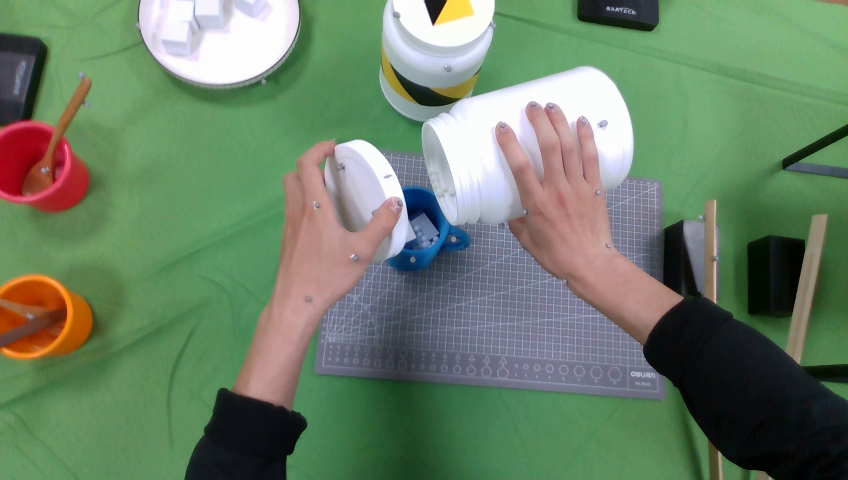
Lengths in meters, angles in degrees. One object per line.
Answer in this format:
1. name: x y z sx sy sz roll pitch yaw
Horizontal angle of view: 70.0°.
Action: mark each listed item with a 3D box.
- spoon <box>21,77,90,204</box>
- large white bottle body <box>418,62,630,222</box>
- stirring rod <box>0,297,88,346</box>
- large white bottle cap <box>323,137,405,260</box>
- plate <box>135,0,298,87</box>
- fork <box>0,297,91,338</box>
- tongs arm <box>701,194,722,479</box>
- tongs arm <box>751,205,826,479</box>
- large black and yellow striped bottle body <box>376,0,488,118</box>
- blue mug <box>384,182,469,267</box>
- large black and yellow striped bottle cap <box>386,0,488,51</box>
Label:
1. spoon: -0.426 -0.112 0.700 0.041 0.021 0.194 50 121 9
2. large white bottle body: 0.097 -0.096 0.618 0.185 0.131 0.130 -18 80 -10
3. stirring rod: -0.447 0.102 0.655 0.014 0.006 0.176 51 35 3
4. large white bottle cap: -0.058 -0.037 0.562 0.018 0.115 0.114 -22 80 -34
5. plate: -0.272 -0.298 0.811 0.208 0.039 0.206 1 78 -6
6. fork: -0.467 0.063 0.655 0.209 0.018 0.028 36 69 -42
7. tongs arm: 0.372 0.135 0.754 0.051 0.026 0.384 1 90 -9
8. tongs arm: 0.453 0.143 0.765 0.028 0.027 0.387 14 88 -12
9. large black and yellow striped bottle body: 0.007 -0.246 0.756 0.131 0.184 0.130 1 77 -6
10. blue mug: -0.002 -0.013 0.742 0.117 0.106 0.082 12 77 -4
11. large black and yellow striped bottle cap: 0.015 -0.267 0.675 0.115 0.019 0.114 1 79 -7
